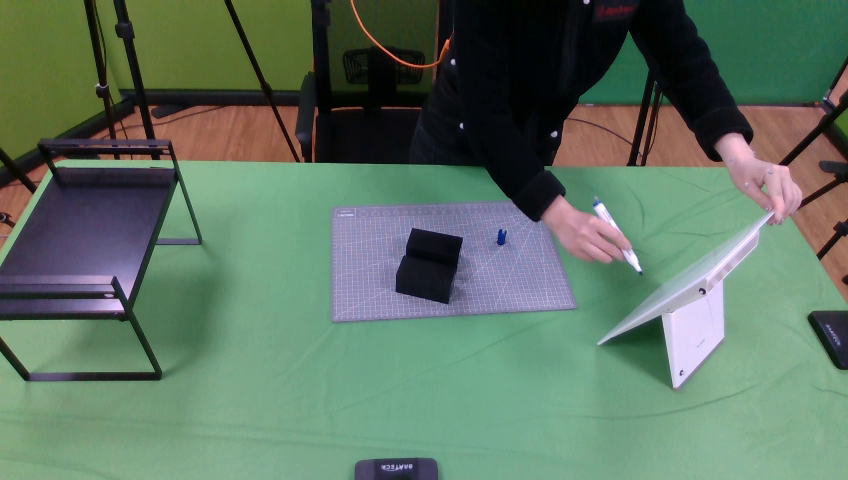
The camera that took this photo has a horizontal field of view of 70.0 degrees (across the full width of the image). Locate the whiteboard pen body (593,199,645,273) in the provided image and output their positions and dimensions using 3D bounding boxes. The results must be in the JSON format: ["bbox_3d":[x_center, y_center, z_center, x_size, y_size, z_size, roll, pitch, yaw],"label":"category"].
[{"bbox_3d":[0.317,-0.005,0.981,0.017,0.017,0.140,-31,87,-29],"label":"whiteboard pen body"}]

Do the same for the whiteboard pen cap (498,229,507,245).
[{"bbox_3d":[0.155,-0.005,1.202,0.018,0.033,0.018,0,45,0],"label":"whiteboard pen cap"}]

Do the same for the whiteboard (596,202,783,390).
[{"bbox_3d":[0.459,0.112,0.967,0.217,0.306,0.143,-31,74,-29],"label":"whiteboard"}]
